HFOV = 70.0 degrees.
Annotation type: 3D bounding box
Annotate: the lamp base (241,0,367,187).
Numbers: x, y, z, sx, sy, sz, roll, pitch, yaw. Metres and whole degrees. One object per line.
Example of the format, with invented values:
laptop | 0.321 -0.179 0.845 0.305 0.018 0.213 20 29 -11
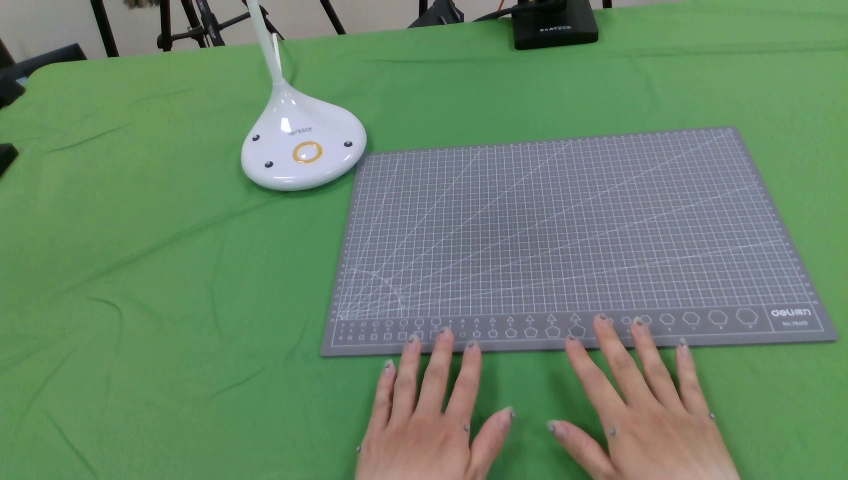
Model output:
lamp base | -0.168 -0.182 0.721 0.161 0.182 0.177 -25 45 -13
